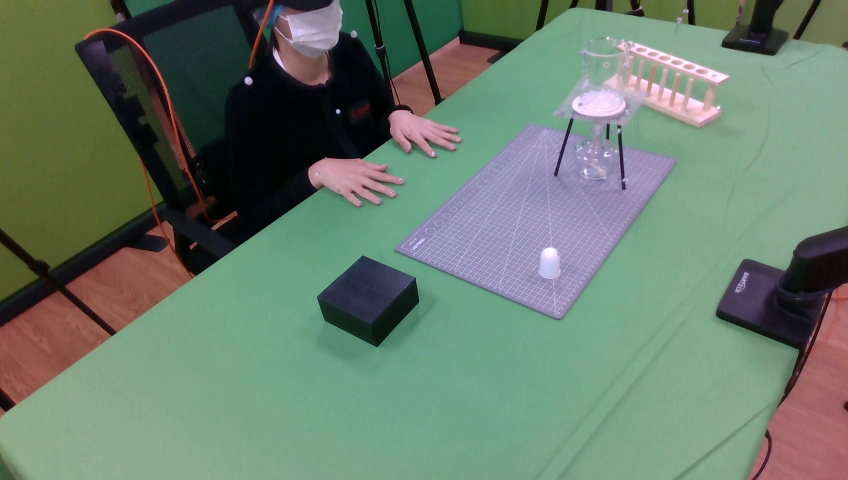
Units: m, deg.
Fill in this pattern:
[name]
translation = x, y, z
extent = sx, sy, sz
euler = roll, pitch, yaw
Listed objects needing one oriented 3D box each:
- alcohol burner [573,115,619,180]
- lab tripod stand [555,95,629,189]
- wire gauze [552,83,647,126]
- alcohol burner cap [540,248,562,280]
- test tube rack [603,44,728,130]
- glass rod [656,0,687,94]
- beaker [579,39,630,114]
[alcohol burner]
translation = 0.300, -0.163, 1.048
extent = 0.078, 0.119, 0.077
euler = -3, 40, 3
[lab tripod stand]
translation = 0.300, -0.174, 1.045
extent = 0.148, 0.132, 0.147
euler = -5, 38, 5
[wire gauze]
translation = 0.293, -0.224, 1.004
extent = 0.120, 0.011, 0.125
euler = 19, 43, 26
[alcohol burner cap]
translation = 0.187, 0.032, 0.888
extent = 0.034, 0.048, 0.033
euler = -4, 40, 4
[test tube rack]
translation = 0.480, -0.316, 1.227
extent = 0.067, 0.085, 0.240
euler = -28, 44, -22
[glass rod]
translation = 0.491, -0.381, 1.199
extent = 0.008, 0.200, 0.008
euler = 1, 41, 0
[beaker]
translation = 0.289, -0.263, 0.975
extent = 0.073, 0.101, 0.084
euler = 17, 45, 27
